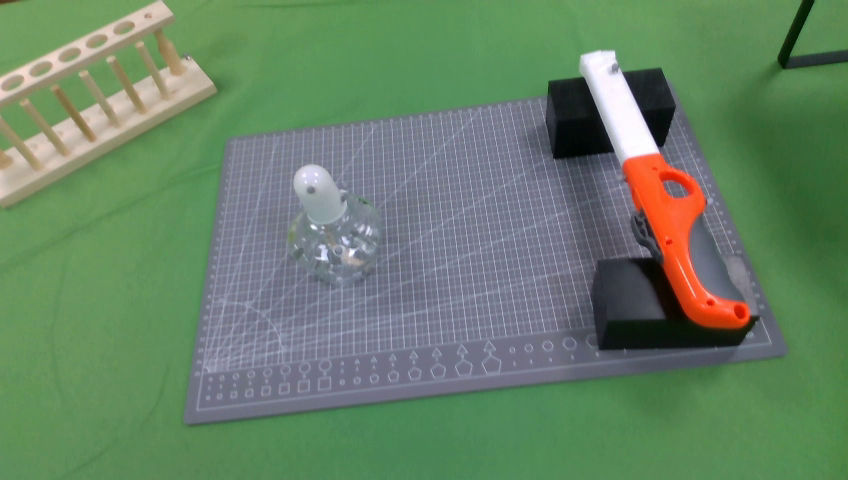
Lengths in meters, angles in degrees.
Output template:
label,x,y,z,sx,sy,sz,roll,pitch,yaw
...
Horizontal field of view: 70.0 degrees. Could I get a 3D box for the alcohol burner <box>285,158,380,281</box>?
label,x,y,z,sx,sy,sz,roll,pitch,yaw
alcohol burner,-0.076,-0.020,0.478,0.078,0.120,0.077,-4,54,6

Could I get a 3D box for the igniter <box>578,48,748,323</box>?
label,x,y,z,sx,sy,sz,roll,pitch,yaw
igniter,0.172,-0.056,0.465,0.057,0.025,0.273,-11,54,1

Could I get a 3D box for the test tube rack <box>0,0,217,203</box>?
label,x,y,z,sx,sy,sz,roll,pitch,yaw
test tube rack,-0.347,-0.145,0.616,0.242,0.086,0.066,-34,59,-15

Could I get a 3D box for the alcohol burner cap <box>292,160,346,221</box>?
label,x,y,z,sx,sy,sz,roll,pitch,yaw
alcohol burner cap,-0.079,-0.040,0.450,0.034,0.048,0.033,-5,59,9
